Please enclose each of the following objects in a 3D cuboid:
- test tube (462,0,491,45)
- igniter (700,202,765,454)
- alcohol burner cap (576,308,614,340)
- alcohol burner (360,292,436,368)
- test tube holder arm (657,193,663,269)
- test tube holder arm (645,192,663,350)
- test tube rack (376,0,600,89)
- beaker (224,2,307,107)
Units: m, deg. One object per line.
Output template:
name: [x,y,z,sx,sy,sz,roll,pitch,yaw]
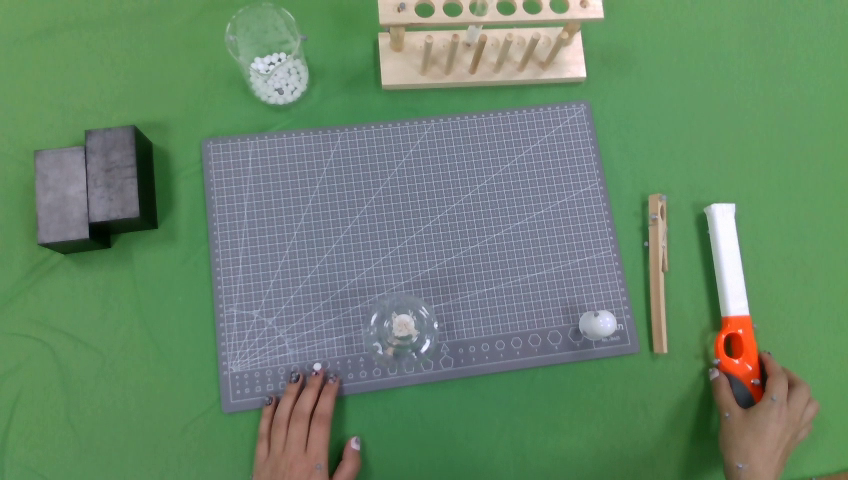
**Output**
test tube: [0.060,-0.248,0.640,0.017,0.150,0.017,1,79,-7]
igniter: [0.342,0.093,0.673,0.057,0.025,0.275,0,79,-12]
alcohol burner cap: [0.186,0.089,0.652,0.034,0.048,0.033,1,77,-4]
alcohol burner: [-0.025,0.087,0.599,0.078,0.119,0.077,1,77,-5]
test tube holder arm: [0.266,-0.009,0.694,0.010,0.015,0.087,13,76,-36]
test tube holder arm: [0.259,0.034,0.682,0.013,0.015,0.177,11,77,-37]
test tube rack: [0.069,-0.225,0.687,0.243,0.085,0.066,-3,79,-5]
beaker: [-0.166,-0.192,0.655,0.074,0.100,0.083,-4,79,-5]
